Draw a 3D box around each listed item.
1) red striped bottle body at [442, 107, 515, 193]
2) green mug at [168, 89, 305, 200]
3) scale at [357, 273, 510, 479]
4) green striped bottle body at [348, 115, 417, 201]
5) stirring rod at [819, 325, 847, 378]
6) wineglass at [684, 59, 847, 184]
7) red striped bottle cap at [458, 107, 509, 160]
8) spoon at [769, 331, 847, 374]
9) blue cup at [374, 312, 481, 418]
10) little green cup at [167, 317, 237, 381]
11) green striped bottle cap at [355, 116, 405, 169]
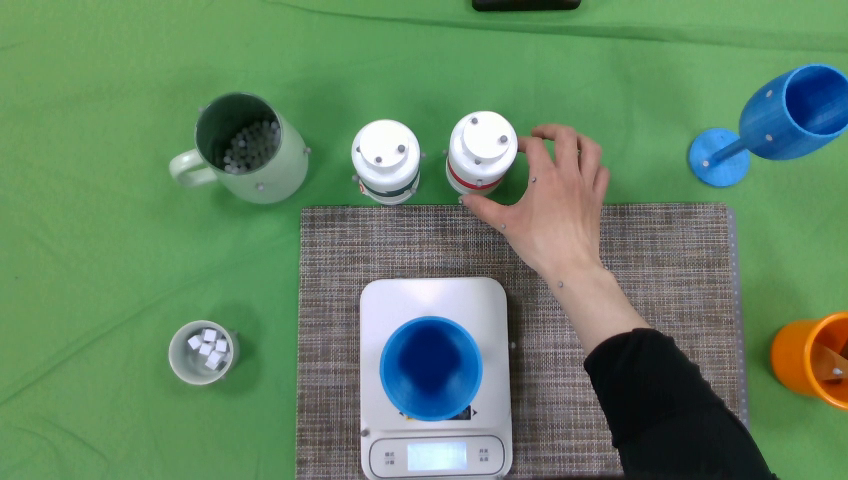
[{"bbox_3d":[0.051,-0.087,0.586,0.063,0.120,0.063,0,82,-2],"label":"red striped bottle body"},{"bbox_3d":[-0.184,-0.084,0.588,0.125,0.105,0.092,-22,84,-3],"label":"green mug"},{"bbox_3d":[0.009,0.134,0.600,0.149,0.031,0.200,-1,84,-1],"label":"scale"},{"bbox_3d":[-0.038,-0.079,0.583,0.063,0.119,0.063,0,82,-1],"label":"green striped bottle body"},{"bbox_3d":[0.405,0.073,0.561,0.014,0.178,0.006,7,42,13],"label":"stirring rod"},{"bbox_3d":[0.313,-0.103,0.567,0.074,0.172,0.073,0,83,0],"label":"wineglass"},{"bbox_3d":[0.053,-0.094,0.534,0.044,0.018,0.044,0,85,-1],"label":"red striped bottle cap"},{"bbox_3d":[0.424,0.125,0.556,0.022,0.192,0.041,10,92,-43],"label":"spoon"},{"bbox_3d":[0.003,0.105,0.538,0.093,0.100,0.092,0,86,-1],"label":"blue cup"},{"bbox_3d":[-0.215,0.107,0.598,0.061,0.039,0.061,0,83,-3],"label":"little green cup"},{"bbox_3d":[-0.038,-0.086,0.531,0.044,0.020,0.044,0,83,-1],"label":"green striped bottle cap"}]
